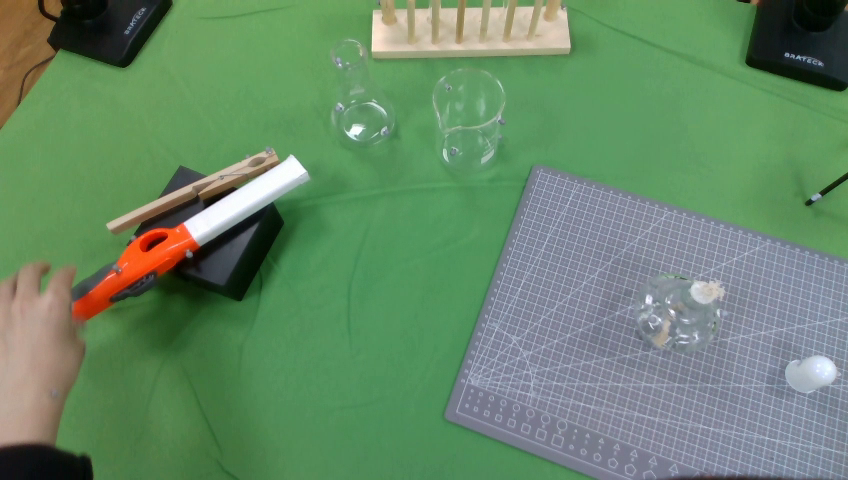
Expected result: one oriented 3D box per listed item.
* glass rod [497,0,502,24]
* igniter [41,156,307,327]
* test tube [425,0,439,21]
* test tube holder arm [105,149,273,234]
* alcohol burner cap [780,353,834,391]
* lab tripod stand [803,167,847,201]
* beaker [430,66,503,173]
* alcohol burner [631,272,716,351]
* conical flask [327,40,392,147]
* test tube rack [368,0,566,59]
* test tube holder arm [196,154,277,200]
[{"bbox_3d":[0.085,-0.322,0.672,0.008,0.201,0.008,-2,59,4],"label":"glass rod"},{"bbox_3d":[-0.241,0.000,0.596,0.276,0.025,0.056,-34,61,-13],"label":"igniter"},{"bbox_3d":[0.011,-0.309,0.686,0.017,0.151,0.017,1,61,-2],"label":"test tube"},{"bbox_3d":[-0.237,-0.050,0.621,0.178,0.015,0.013,-26,68,-10],"label":"test tube holder arm"},{"bbox_3d":[0.365,0.122,0.572,0.034,0.048,0.033,0,67,1],"label":"alcohol burner cap"},{"bbox_3d":[0.486,-0.083,0.609,0.148,0.132,0.147,0,67,0],"label":"lab tripod stand"},{"bbox_3d":[0.042,-0.122,0.654,0.073,0.101,0.084,34,72,15],"label":"beaker"},{"bbox_3d":[0.237,0.061,0.562,0.078,0.120,0.077,0,67,0],"label":"alcohol burner"},{"bbox_3d":[-0.077,-0.163,0.661,0.075,0.123,0.075,-1,67,2],"label":"conical flask"},{"bbox_3d":[0.052,-0.273,0.724,0.242,0.086,0.066,-1,67,1],"label":"test tube rack"},{"bbox_3d":[-0.194,-0.065,0.627,0.088,0.015,0.010,-25,68,-10],"label":"test tube holder arm"}]
